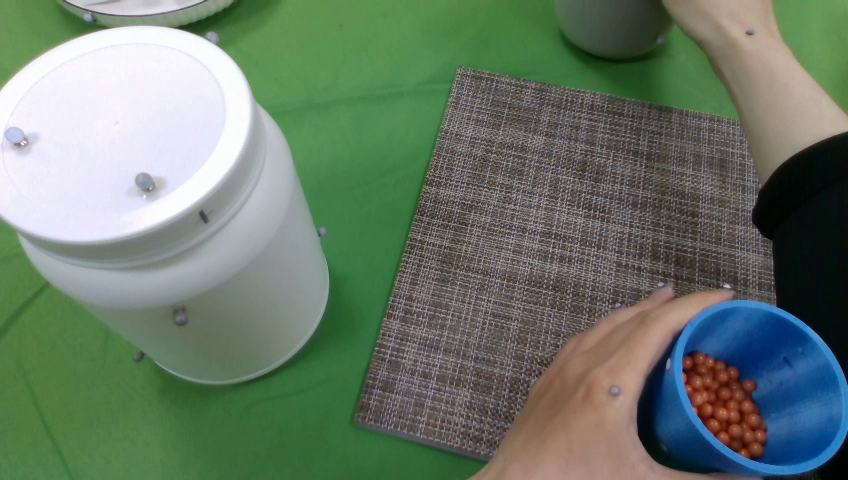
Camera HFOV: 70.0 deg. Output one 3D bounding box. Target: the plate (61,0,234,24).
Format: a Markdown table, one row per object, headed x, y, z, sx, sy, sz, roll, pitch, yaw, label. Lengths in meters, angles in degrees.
| x | y | z | sx | sy | sz | roll | pitch | yaw | label |
| --- | --- | --- | --- | --- | --- | --- | --- | --- | --- |
| -0.236 | -0.265 | 0.546 | 0.208 | 0.039 | 0.206 | 1 | 63 | -1 | plate |

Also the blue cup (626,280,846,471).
| x | y | z | sx | sy | sz | roll | pitch | yaw | label |
| --- | --- | --- | --- | --- | --- | --- | --- | --- | --- |
| 0.157 | 0.087 | 0.335 | 0.093 | 0.101 | 0.092 | 1 | 66 | -2 | blue cup |

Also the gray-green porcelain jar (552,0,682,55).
| x | y | z | sx | sy | sz | roll | pitch | yaw | label |
| --- | --- | --- | --- | --- | --- | --- | --- | --- | --- |
| 0.161 | -0.222 | 0.482 | 0.106 | 0.127 | 0.105 | 0 | 63 | 0 | gray-green porcelain jar |

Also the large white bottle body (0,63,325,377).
| x | y | z | sx | sy | sz | roll | pitch | yaw | label |
| --- | --- | --- | --- | --- | --- | --- | --- | --- | --- |
| -0.131 | -0.009 | 0.335 | 0.130 | 0.186 | 0.129 | 1 | 63 | -1 | large white bottle body |

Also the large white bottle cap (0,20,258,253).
| x | y | z | sx | sy | sz | roll | pitch | yaw | label |
| --- | --- | --- | --- | --- | --- | --- | --- | --- | --- |
| -0.131 | -0.048 | 0.260 | 0.115 | 0.018 | 0.114 | 1 | 63 | -1 | large white bottle cap |
